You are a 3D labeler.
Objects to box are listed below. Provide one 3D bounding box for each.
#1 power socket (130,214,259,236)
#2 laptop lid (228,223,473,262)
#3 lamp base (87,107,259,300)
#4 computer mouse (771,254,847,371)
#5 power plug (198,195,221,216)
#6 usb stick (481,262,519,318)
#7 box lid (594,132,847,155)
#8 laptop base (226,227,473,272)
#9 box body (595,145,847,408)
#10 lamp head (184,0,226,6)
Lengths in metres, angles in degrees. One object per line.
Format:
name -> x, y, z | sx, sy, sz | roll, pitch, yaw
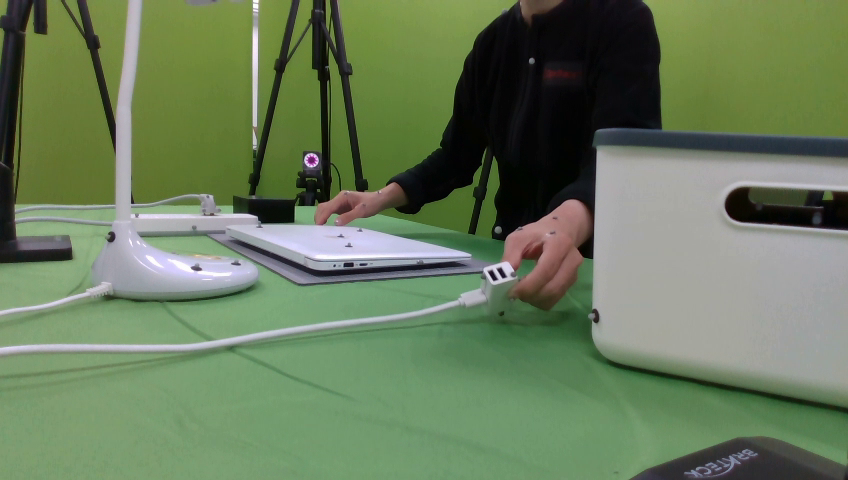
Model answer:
power socket -> -0.397, -0.028, 1.048 | 0.228, 0.032, 0.072 | -3, 7, -35
laptop lid -> -0.123, 0.000, 0.888 | 0.243, 0.013, 0.355 | 1, 7, -33
lamp base -> -0.254, -0.039, 0.603 | 0.160, 0.180, 0.179 | 4, 10, 18
computer mouse -> 0.344, 0.057, 0.519 | 0.063, 0.041, 0.117 | 12, 47, 3
power plug -> -0.385, -0.055, 1.088 | 0.035, 0.052, 0.072 | -1, 6, -24
usb stick -> 0.066, 0.048, 0.528 | 0.027, 0.059, 0.021 | -17, 46, -13
box lid -> 0.310, -0.066, 0.499 | 0.262, 0.015, 0.373 | 7, 8, 29
laptop base -> -0.125, 0.011, 0.889 | 0.237, 0.023, 0.352 | 2, 6, -35
box body -> 0.309, 0.007, 0.509 | 0.253, 0.160, 0.366 | 6, 8, 29
lamp head -> -0.229, -0.320, 0.627 | 0.112, 0.112, 0.123 | 6, -35, 26
